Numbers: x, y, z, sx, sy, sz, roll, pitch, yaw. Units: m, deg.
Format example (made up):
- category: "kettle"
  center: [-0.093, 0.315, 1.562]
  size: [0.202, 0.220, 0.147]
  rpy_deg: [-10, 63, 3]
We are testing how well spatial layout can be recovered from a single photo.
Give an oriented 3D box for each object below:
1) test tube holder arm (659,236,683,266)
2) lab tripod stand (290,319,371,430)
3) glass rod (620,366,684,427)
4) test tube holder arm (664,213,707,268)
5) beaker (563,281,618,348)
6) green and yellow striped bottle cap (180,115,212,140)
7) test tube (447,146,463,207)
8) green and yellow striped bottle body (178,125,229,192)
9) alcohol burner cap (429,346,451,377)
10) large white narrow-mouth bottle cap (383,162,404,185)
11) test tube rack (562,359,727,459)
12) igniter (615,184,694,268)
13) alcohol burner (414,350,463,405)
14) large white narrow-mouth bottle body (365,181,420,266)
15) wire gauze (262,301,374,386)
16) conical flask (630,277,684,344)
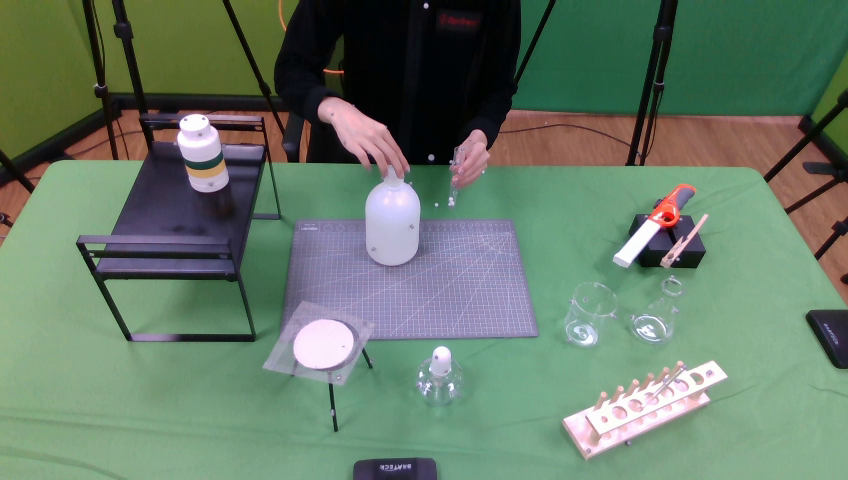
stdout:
- category: "test tube holder arm"
  center: [0.472, 0.020, 1.149]
  size: [0.010, 0.015, 0.088]
  rpy_deg: [34, 54, 27]
- category: "lab tripod stand"
  center: [-0.146, 0.193, 0.923]
  size: [0.148, 0.132, 0.147]
  rpy_deg: [1, 47, -1]
- category: "glass rod"
  center: [0.323, 0.227, 0.866]
  size: [0.008, 0.200, 0.008]
  rpy_deg: [5, 51, -6]
- category: "test tube holder arm"
  center: [0.507, -0.001, 1.171]
  size: [0.013, 0.015, 0.178]
  rpy_deg: [33, 53, 26]
- category: "beaker"
  center: [0.283, 0.129, 1.041]
  size: [0.074, 0.101, 0.083]
  rpy_deg: [11, 46, 7]
- category: "green and yellow striped bottle cap"
  center: [-0.358, -0.177, 0.951]
  size: [0.045, 0.020, 0.045]
  rpy_deg: [2, 45, -2]
- category: "test tube"
  center: [0.055, -0.113, 1.111]
  size: [0.017, 0.151, 0.017]
  rpy_deg: [2, 52, -2]
- category: "green and yellow striped bottle body"
  center: [-0.361, -0.142, 0.989]
  size: [0.063, 0.120, 0.063]
  rpy_deg: [2, 46, -2]
- category: "alcohol burner cap"
  center: [0.026, 0.180, 0.912]
  size: [0.034, 0.048, 0.033]
  rpy_deg: [1, 47, -1]
- category: "large white narrow-mouth bottle cap"
  center: [-0.053, -0.116, 1.051]
  size: [0.038, 0.024, 0.037]
  rpy_deg: [2, 45, -2]
- category: "test tube rack"
  center: [0.341, 0.247, 0.940]
  size: [0.243, 0.085, 0.066]
  rpy_deg: [-16, 49, -18]
- category: "igniter"
  center: [0.459, -0.035, 1.197]
  size: [0.057, 0.025, 0.276]
  rpy_deg: [32, 55, 27]
- category: "alcohol burner"
  center: [0.023, 0.205, 0.939]
  size: [0.078, 0.120, 0.077]
  rpy_deg: [1, 48, -1]
- category: "large white narrow-mouth bottle body"
  center: [-0.058, -0.048, 1.117]
  size: [0.102, 0.195, 0.101]
  rpy_deg: [2, 45, -2]
- category: "wire gauze"
  center: [-0.150, 0.148, 0.873]
  size: [0.121, 0.011, 0.124]
  rpy_deg: [14, 46, 12]
- category: "conical flask"
  center: [0.408, 0.117, 1.045]
  size: [0.075, 0.122, 0.075]
  rpy_deg: [2, 46, -2]
